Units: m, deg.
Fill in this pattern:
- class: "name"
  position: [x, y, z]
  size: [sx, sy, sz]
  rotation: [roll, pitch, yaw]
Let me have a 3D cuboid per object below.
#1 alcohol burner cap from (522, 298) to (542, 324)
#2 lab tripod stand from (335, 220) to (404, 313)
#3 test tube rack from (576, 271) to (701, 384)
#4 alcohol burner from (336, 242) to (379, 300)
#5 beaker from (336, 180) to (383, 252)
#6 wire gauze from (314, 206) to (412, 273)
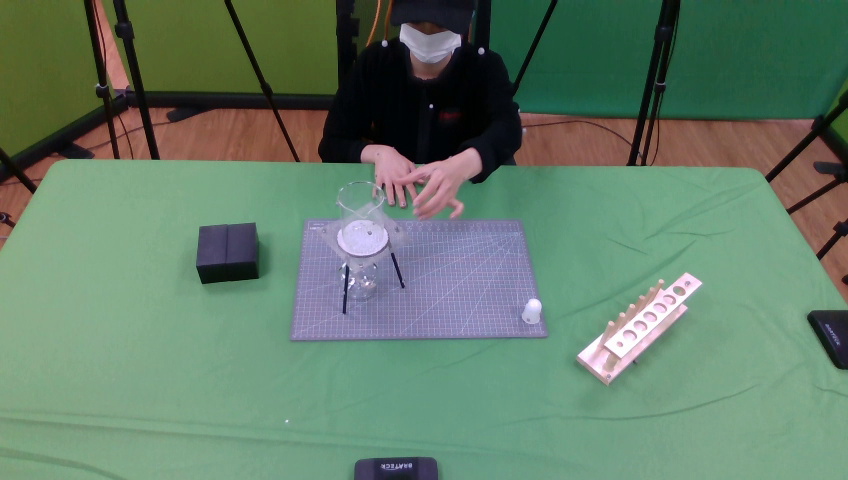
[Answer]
- class: "alcohol burner cap"
  position: [0.193, 0.124, 1.074]
  size: [0.034, 0.048, 0.033]
  rotation: [1, 46, -1]
- class: "lab tripod stand"
  position: [-0.110, 0.039, 1.070]
  size: [0.148, 0.132, 0.147]
  rotation: [1, 46, -1]
- class: "test tube rack"
  position: [0.373, 0.138, 1.047]
  size: [0.242, 0.085, 0.066]
  rotation: [-31, 56, -29]
- class: "alcohol burner"
  position: [-0.118, 0.050, 1.072]
  size: [0.078, 0.120, 0.077]
  rotation: [2, 44, -1]
- class: "beaker"
  position: [-0.101, -0.034, 0.981]
  size: [0.074, 0.101, 0.083]
  rotation: [-7, 46, -9]
- class: "wire gauze"
  position: [-0.103, -0.007, 1.024]
  size: [0.121, 0.011, 0.124]
  rotation: [-28, 50, -29]
